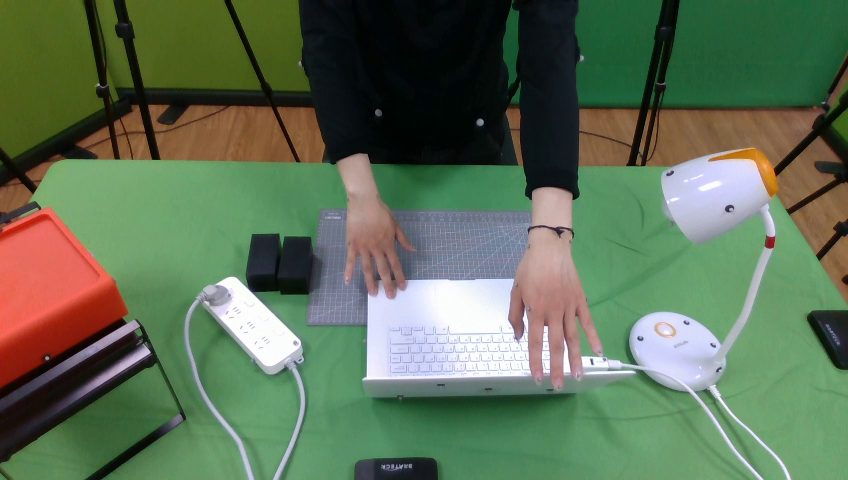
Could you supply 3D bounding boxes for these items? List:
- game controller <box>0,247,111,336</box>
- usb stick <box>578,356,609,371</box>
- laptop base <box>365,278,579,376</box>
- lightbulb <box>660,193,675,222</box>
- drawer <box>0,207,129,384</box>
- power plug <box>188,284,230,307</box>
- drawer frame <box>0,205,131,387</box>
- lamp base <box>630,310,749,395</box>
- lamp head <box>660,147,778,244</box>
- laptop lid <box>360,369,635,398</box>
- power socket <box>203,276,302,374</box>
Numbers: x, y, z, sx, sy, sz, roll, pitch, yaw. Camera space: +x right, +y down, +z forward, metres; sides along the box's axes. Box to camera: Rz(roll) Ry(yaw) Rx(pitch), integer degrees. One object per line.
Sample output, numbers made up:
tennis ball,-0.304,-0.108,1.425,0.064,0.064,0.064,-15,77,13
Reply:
game controller,-0.511,0.063,0.831,0.097,0.052,0.154,-29,57,-33
usb stick,0.274,0.207,1.007,0.059,0.027,0.021,0,52,0
laptop base,0.077,0.162,1.053,0.355,0.023,0.234,-1,44,-4
lightbulb,0.369,-0.060,0.808,0.060,0.107,0.059,20,58,-36
drawer,-0.539,0.074,0.798,0.193,0.073,0.211,37,55,27
power plug,-0.368,0.100,1.036,0.072,0.053,0.035,-26,53,-24
drawer frame,-0.539,0.075,0.795,0.200,0.083,0.213,36,54,26
lamp base,0.447,0.142,0.984,0.161,0.181,0.178,-24,55,-24
lamp head,0.389,-0.063,0.785,0.123,0.113,0.112,-22,33,37
laptop lid,0.090,0.208,0.863,0.357,0.242,0.013,0,70,-6
power socket,-0.296,0.142,1.034,0.072,0.033,0.225,-34,58,-31
